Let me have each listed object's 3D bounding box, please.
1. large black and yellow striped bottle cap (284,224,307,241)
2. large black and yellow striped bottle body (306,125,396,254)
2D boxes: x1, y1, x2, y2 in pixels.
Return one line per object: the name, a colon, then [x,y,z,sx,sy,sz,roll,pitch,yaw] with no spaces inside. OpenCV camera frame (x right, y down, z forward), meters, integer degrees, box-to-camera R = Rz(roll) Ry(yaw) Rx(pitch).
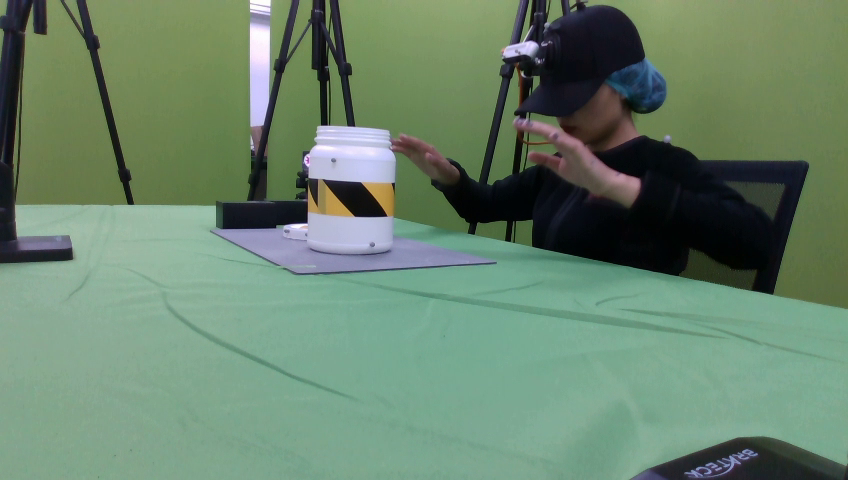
large black and yellow striped bottle cap: [-0.186,-0.014,1.055,0.115,0.019,0.115,1,8,0]
large black and yellow striped bottle body: [-0.109,-0.077,0.913,0.131,0.184,0.130,3,8,0]
